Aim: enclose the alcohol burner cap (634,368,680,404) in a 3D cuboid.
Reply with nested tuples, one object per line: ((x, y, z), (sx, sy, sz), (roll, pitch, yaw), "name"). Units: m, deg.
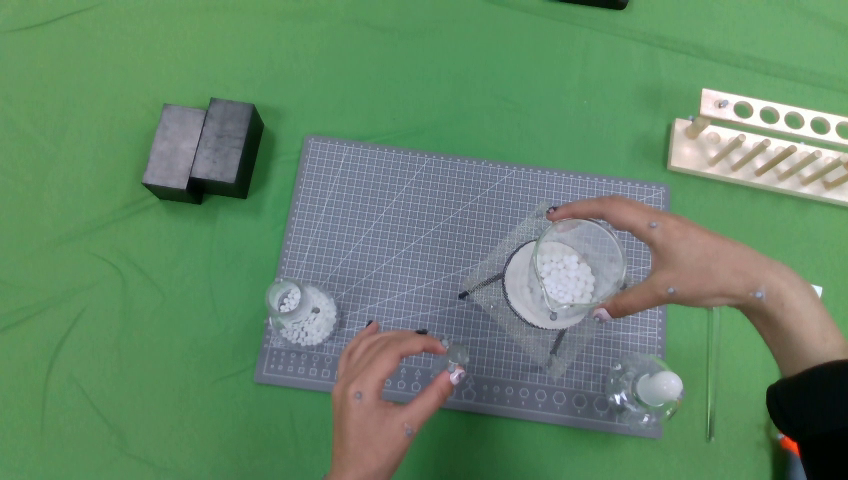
((0.229, 0.139, 0.587), (0.034, 0.048, 0.033), (2, 68, -6), "alcohol burner cap")

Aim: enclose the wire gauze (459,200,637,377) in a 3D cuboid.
((0.116, 0.042, 0.568), (0.121, 0.011, 0.124), (-44, 82, -10), "wire gauze")

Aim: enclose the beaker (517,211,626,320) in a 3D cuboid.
((0.120, 0.030, 0.522), (0.074, 0.101, 0.084), (30, 76, 8), "beaker")

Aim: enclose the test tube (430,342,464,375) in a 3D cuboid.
((0.018, 0.103, 0.517), (0.017, 0.151, 0.017), (1, 74, -4), "test tube")

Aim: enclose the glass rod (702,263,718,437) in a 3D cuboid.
((0.326, 0.122, 0.690), (0.008, 0.008, 0.199), (10, 77, 0), "glass rod")

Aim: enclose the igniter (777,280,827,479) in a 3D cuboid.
((0.417, 0.180, 0.668), (0.057, 0.025, 0.275), (13, 75, -9), "igniter")

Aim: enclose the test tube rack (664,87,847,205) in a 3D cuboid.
((0.423, -0.108, 0.716), (0.242, 0.085, 0.066), (12, 74, 1), "test tube rack")

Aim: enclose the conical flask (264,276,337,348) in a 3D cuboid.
((-0.133, 0.069, 0.626), (0.075, 0.122, 0.075), (1, 74, -2), "conical flask")

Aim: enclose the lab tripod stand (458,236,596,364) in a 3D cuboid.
((0.112, 0.057, 0.632), (0.148, 0.132, 0.147), (0, 76, 0), "lab tripod stand")

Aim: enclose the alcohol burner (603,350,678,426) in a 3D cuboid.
((0.227, 0.150, 0.621), (0.078, 0.120, 0.077), (0, 73, 1), "alcohol burner")
